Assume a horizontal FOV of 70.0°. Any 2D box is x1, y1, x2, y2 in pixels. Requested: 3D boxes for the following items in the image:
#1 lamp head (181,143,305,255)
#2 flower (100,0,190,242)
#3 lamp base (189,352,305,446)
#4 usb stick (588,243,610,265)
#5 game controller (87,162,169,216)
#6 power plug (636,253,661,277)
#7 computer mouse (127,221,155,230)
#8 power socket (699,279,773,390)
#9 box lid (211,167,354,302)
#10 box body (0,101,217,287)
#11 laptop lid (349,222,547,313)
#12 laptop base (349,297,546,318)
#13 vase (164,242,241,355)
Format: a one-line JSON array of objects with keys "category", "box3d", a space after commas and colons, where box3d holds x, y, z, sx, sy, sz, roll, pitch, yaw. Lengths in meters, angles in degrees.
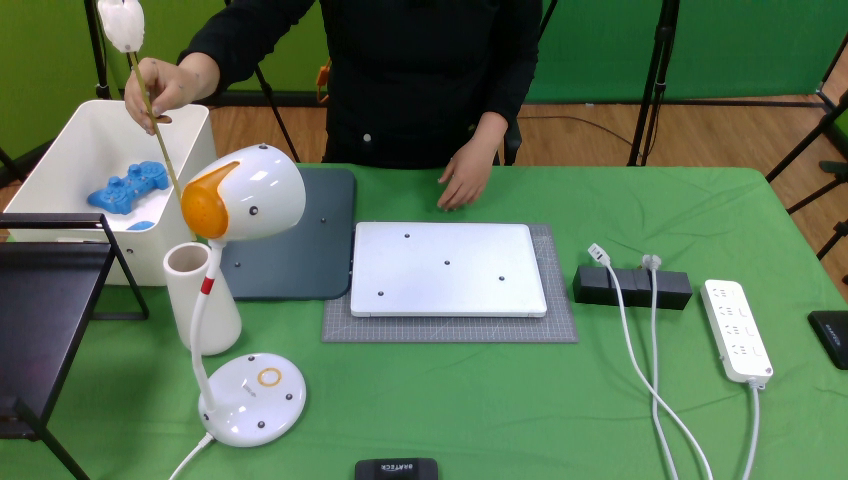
[{"category": "lamp head", "box3d": [-0.216, -0.043, 0.696, 0.112, 0.113, 0.123, 23, 31, 17]}, {"category": "flower", "box3d": [-0.341, -0.132, 0.780, 0.044, 0.363, 0.038, -9, 44, -14]}, {"category": "lamp base", "box3d": [-0.268, 0.197, 0.876, 0.160, 0.181, 0.179, 26, 52, 19]}, {"category": "usb stick", "box3d": [0.336, 0.025, 1.172, 0.027, 0.021, 0.059, 34, 17, -13]}, {"category": "game controller", "box3d": [-0.598, -0.113, 1.234, 0.097, 0.052, 0.155, 29, 52, 20]}, {"category": "power plug", "box3d": [0.415, 0.051, 1.139, 0.035, 0.053, 0.072, 46, 49, 10]}, {"category": "computer mouse", "box3d": [-0.537, 0.009, 1.127, 0.062, 0.041, 0.117, 31, 55, 21]}, {"category": "power socket", "box3d": [0.552, 0.158, 1.080, 0.072, 0.033, 0.225, 4, 47, 1]}, {"category": "box lid", "box3d": [-0.277, -0.024, 1.205, 0.263, 0.015, 0.369, 0, 46, -4]}, {"category": "box body", "box3d": [-0.560, -0.092, 1.144, 0.254, 0.161, 0.361, 3, 46, -2]}, {"category": "laptop lid", "box3d": [0.041, 0.046, 1.143, 0.357, 0.013, 0.240, 2, 44, -3]}, {"category": "laptop base", "box3d": [0.041, 0.056, 1.149, 0.355, 0.023, 0.234, 1, 43, -4]}, {"category": "vase", "box3d": [-0.349, 0.096, 0.954, 0.098, 0.201, 0.097, 3, 47, -3]}]
